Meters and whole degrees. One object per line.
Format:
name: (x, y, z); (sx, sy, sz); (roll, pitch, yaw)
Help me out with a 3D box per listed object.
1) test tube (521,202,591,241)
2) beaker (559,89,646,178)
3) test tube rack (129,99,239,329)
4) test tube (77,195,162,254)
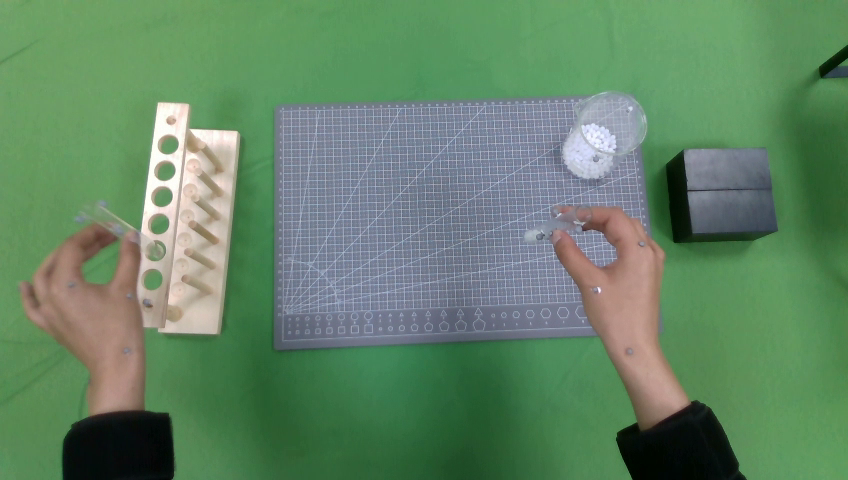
test tube: (0.115, -0.014, 0.552); (0.017, 0.150, 0.017); (1, 83, -8)
beaker: (0.198, -0.120, 0.700); (0.084, 0.100, 0.074); (29, 79, 6)
test tube rack: (-0.262, -0.025, 0.675); (0.067, 0.085, 0.241); (2, 79, -1)
test tube: (-0.279, -0.011, 0.567); (0.017, 0.151, 0.017); (1, 75, -2)
